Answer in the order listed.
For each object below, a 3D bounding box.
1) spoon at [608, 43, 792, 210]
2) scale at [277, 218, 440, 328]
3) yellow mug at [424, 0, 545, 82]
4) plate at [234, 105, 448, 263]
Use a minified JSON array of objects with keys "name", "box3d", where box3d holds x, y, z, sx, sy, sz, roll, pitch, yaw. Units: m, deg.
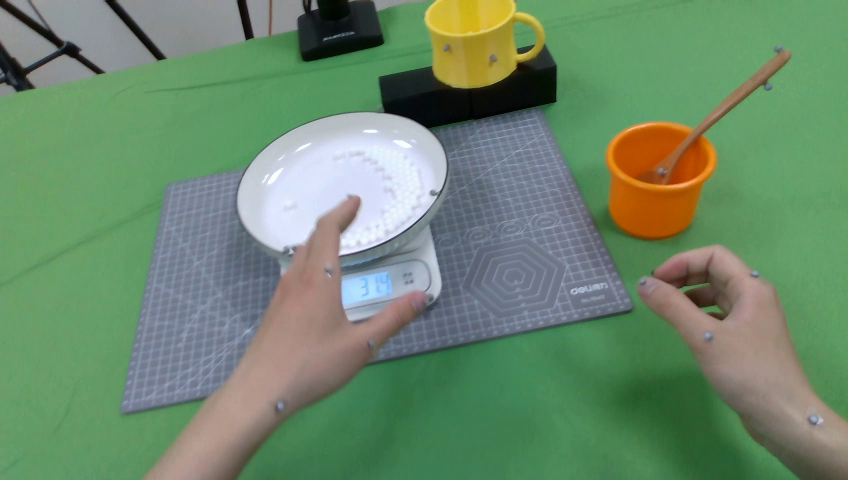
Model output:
[{"name":"spoon","box3d":[0.240,-0.096,0.538,0.022,0.194,0.041,20,36,-31]},{"name":"scale","box3d":[-0.070,-0.012,0.599,0.149,0.032,0.198,-12,49,1]},{"name":"yellow mug","box3d":[0.069,-0.234,0.678,0.130,0.064,0.099,5,51,14]},{"name":"plate","box3d":[-0.078,-0.055,0.593,0.209,0.038,0.207,-5,49,6]}]
